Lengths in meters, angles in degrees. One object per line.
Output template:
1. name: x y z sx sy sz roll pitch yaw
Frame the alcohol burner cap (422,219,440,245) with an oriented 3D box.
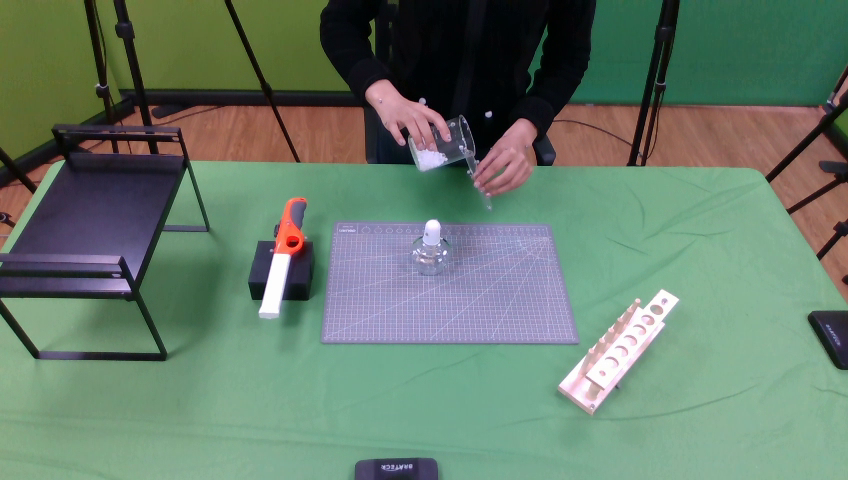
1. alcohol burner cap: 0.014 -0.018 1.094 0.034 0.048 0.033 5 44 -5

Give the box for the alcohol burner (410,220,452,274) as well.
1. alcohol burner: 0.013 0.008 1.120 0.078 0.120 0.077 1 48 -1

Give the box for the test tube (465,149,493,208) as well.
1. test tube: 0.102 -0.109 1.114 0.017 0.151 0.017 -12 49 15

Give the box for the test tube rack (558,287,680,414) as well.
1. test tube rack: 0.327 0.170 1.009 0.066 0.085 0.242 36 54 27

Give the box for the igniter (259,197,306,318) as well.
1. igniter: -0.252 0.021 1.087 0.057 0.025 0.275 4 48 -2

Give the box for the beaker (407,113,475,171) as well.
1. beaker: 0.028 -0.162 1.027 0.100 0.084 0.073 -20 52 -4
